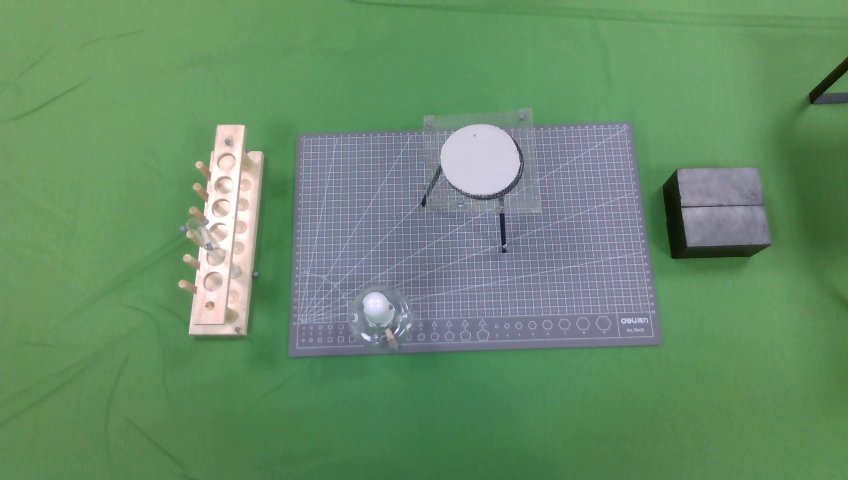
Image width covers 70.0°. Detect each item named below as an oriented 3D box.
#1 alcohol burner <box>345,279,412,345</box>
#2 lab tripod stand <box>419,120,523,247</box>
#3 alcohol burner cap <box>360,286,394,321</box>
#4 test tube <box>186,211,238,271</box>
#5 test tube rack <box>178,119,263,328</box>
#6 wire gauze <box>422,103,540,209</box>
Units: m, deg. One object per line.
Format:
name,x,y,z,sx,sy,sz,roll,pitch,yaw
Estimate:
alcohol burner,-0.052,0.078,0.687,0.078,0.119,0.077,0,73,-1
lab tripod stand,0.065,-0.075,0.720,0.148,0.132,0.147,0,71,2
alcohol burner cap,-0.053,0.067,0.652,0.034,0.048,0.033,-2,70,6
test tube,-0.234,0.005,0.677,0.017,0.151,0.017,1,68,-1
test tube rack,-0.250,-0.019,0.736,0.067,0.085,0.241,0,74,1
wire gauze,0.060,-0.091,0.655,0.125,0.011,0.120,-1,74,1
